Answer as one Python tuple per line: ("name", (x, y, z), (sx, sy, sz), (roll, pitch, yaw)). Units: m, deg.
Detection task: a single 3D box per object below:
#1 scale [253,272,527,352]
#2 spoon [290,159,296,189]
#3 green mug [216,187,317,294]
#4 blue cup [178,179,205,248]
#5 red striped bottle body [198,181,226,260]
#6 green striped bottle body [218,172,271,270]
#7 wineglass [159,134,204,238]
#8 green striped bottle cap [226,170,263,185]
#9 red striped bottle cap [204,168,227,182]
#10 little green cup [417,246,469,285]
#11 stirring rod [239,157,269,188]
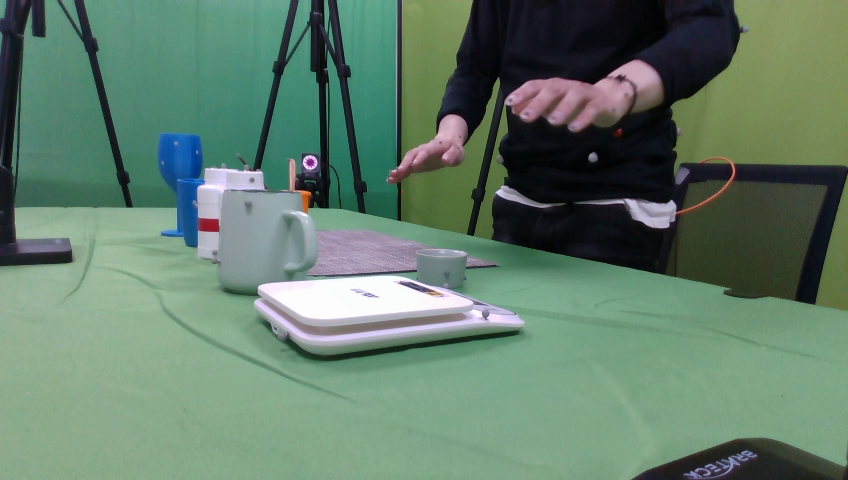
("scale", (-0.029, 0.054, 0.512), (0.202, 0.031, 0.148), (-2, 8, -31))
("spoon", (-0.273, -0.102, 1.252), (0.042, 0.193, 0.021), (7, -38, -17))
("green mug", (-0.157, 0.000, 0.629), (0.124, 0.105, 0.093), (7, 9, 37))
("blue cup", (-0.335, -0.041, 0.936), (0.093, 0.100, 0.092), (3, 9, 0))
("red striped bottle body", (-0.275, -0.035, 0.827), (0.063, 0.119, 0.063), (1, 6, 0))
("green striped bottle body", (-0.223, -0.025, 0.755), (0.063, 0.119, 0.063), (1, 7, 0))
("wineglass", (-0.415, -0.093, 1.040), (0.074, 0.172, 0.073), (2, 7, 0))
("green striped bottle cap", (-0.222, -0.077, 0.748), (0.044, 0.020, 0.044), (1, 7, 0))
("red striped bottle cap", (-0.275, -0.088, 0.821), (0.044, 0.017, 0.044), (4, 6, 0))
("little green cup", (0.021, 0.029, 0.701), (0.061, 0.038, 0.061), (1, 6, 0))
("stirring rod", (-0.309, -0.098, 1.209), (0.006, 0.177, 0.014), (-39, 29, -4))
